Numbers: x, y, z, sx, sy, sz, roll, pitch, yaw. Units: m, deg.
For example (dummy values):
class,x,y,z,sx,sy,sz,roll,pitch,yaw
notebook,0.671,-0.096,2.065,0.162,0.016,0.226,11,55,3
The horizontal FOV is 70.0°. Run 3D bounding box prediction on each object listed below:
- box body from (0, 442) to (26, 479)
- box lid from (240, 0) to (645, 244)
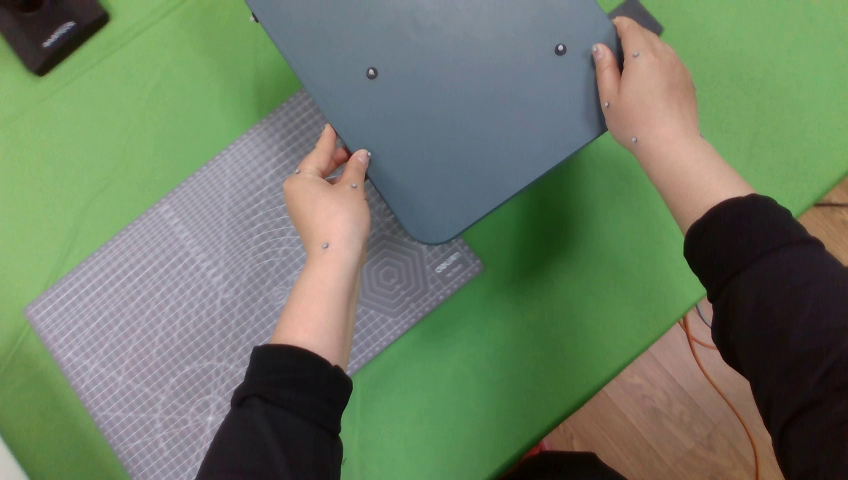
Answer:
class,x,y,z,sx,sy,sz,roll,pitch,yaw
box body,-0.542,0.322,0.595,0.254,0.161,0.362,-42,80,-2
box lid,-0.001,-0.209,0.562,0.263,0.015,0.370,-36,85,0
